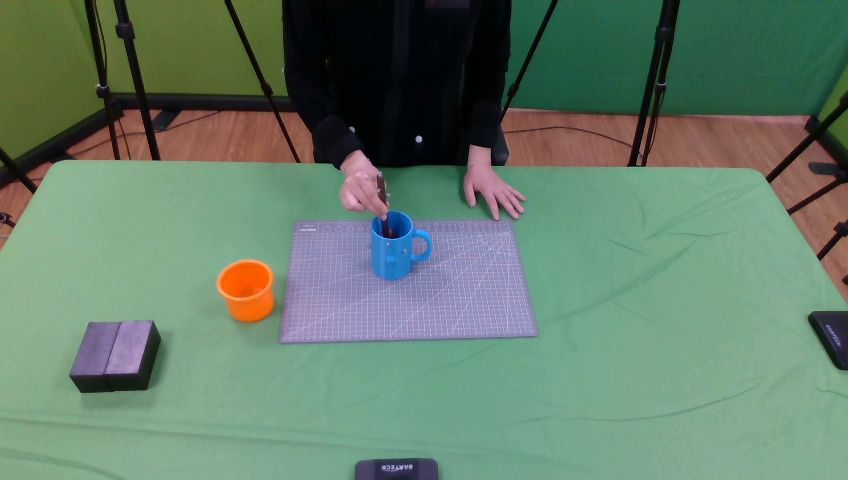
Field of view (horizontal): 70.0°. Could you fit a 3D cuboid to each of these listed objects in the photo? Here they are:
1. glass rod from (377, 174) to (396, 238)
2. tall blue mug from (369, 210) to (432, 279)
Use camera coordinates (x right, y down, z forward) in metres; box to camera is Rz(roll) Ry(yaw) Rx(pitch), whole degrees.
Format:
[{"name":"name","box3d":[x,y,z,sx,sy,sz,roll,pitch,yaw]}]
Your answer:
[{"name":"glass rod","box3d":[-0.065,-0.049,1.088,0.008,0.201,0.008,-4,53,5]},{"name":"tall blue mug","box3d":[-0.048,0.005,1.125,0.107,0.108,0.077,-19,50,-21]}]
